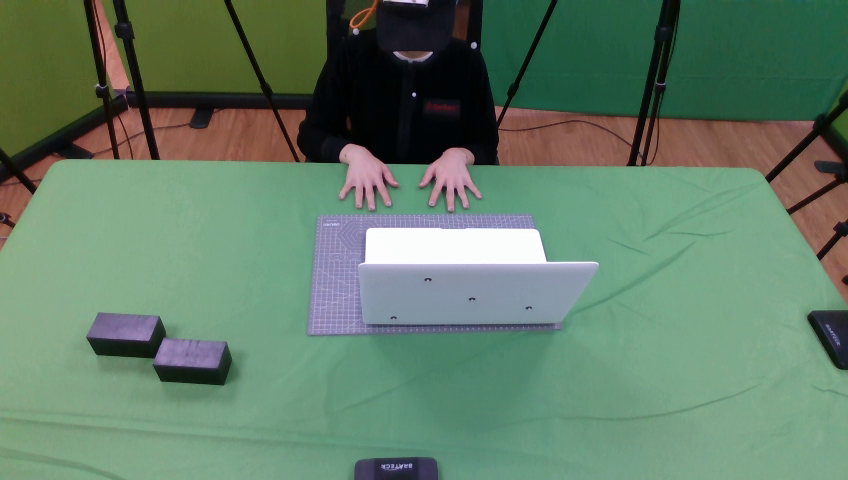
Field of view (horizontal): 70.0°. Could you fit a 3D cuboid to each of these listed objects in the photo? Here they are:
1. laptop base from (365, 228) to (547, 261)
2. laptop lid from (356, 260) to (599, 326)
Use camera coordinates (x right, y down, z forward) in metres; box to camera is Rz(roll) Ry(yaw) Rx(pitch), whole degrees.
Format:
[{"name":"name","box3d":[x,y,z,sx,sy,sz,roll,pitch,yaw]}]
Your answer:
[{"name":"laptop base","box3d":[0.064,0.063,1.143,0.355,0.023,0.234,0,42,-4]},{"name":"laptop lid","box3d":[0.074,0.089,0.958,0.357,0.242,0.013,1,60,-5]}]
